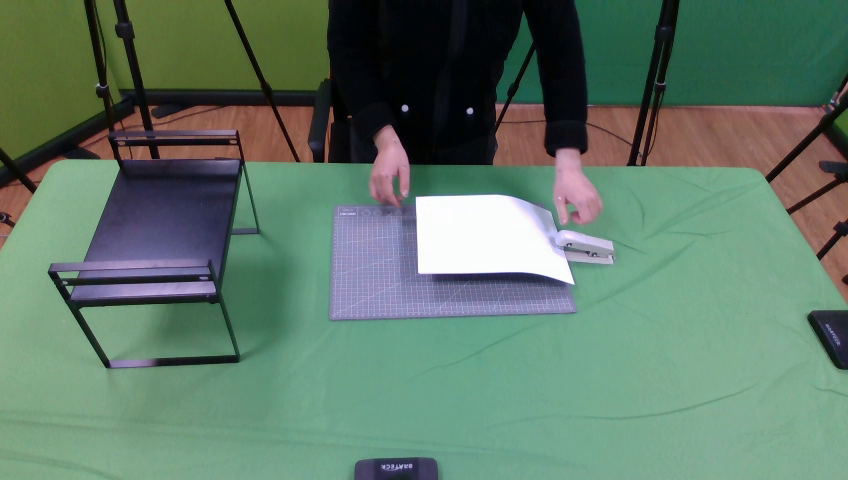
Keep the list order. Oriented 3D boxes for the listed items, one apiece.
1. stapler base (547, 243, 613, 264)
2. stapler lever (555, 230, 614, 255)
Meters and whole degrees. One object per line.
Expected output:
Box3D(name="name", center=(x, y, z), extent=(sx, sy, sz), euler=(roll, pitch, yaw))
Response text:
Box3D(name="stapler base", center=(0.311, 0.022, 1.198), extent=(0.131, 0.024, 0.041), euler=(5, 47, -3))
Box3D(name="stapler lever", center=(0.315, 0.004, 1.180), extent=(0.118, 0.040, 0.026), euler=(5, 47, -2))
